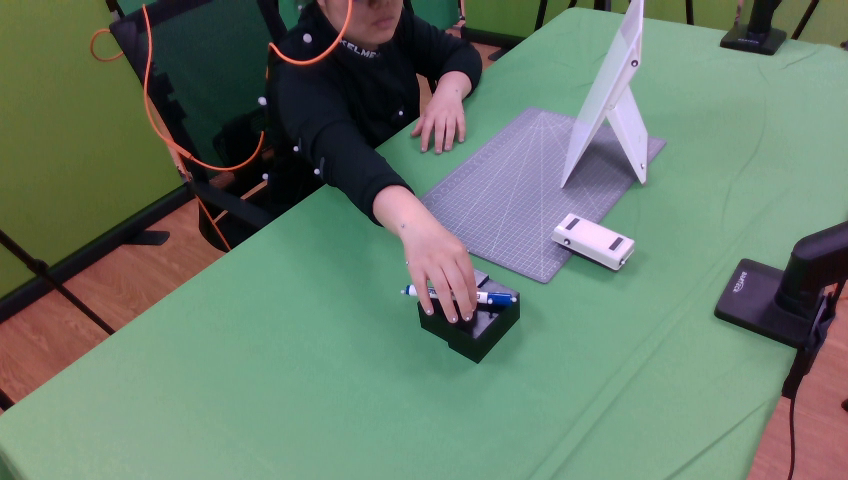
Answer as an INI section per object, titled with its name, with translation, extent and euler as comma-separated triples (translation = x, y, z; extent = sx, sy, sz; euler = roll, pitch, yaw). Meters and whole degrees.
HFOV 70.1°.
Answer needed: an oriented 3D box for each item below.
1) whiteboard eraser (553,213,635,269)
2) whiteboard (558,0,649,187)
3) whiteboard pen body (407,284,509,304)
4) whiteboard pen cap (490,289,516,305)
[whiteboard eraser]
translation = 0.257, 0.003, 0.918
extent = 0.112, 0.042, 0.056
euler = 27, 49, 30
[whiteboard]
translation = 0.362, -0.238, 1.026
extent = 0.144, 0.306, 0.217
euler = 21, 44, 3
[whiteboard pen body]
translation = 0.044, 0.073, 0.811
extent = 0.140, 0.017, 0.017
euler = 5, 42, 14
[whiteboard pen cap]
translation = 0.105, 0.075, 0.797
extent = 0.033, 0.018, 0.018
euler = -11, 38, -27
